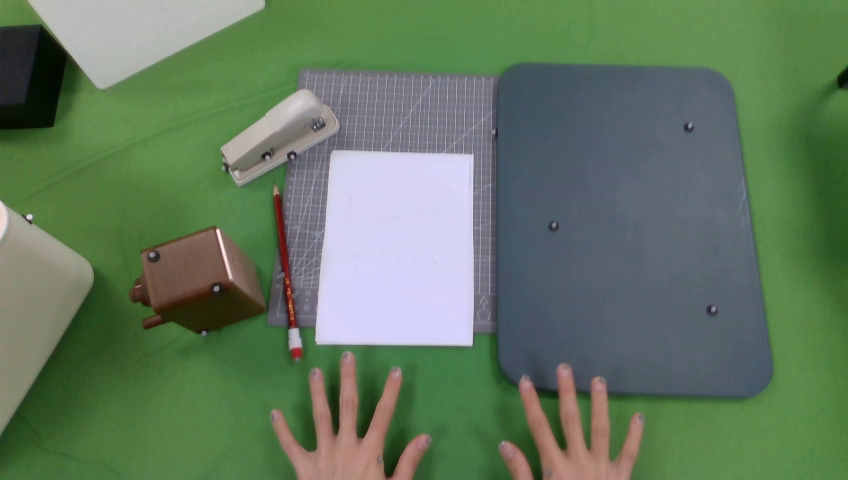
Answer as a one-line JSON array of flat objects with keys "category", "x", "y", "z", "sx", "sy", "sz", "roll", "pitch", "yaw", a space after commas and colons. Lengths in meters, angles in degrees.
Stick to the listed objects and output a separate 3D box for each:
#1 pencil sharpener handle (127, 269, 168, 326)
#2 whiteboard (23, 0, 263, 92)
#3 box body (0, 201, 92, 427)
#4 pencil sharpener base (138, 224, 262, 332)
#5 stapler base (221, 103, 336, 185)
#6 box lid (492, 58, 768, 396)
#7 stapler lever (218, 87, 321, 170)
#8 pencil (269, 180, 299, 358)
[{"category": "pencil sharpener handle", "x": -0.252, "y": 0.056, "z": 0.543, "sx": 0.030, "sy": 0.068, "sz": 0.035, "roll": -19, "pitch": 55, "yaw": -5}, {"category": "whiteboard", "x": -0.344, "y": -0.355, "z": 0.625, "sx": 0.217, "sy": 0.308, "sz": 0.142, "roll": -31, "pitch": 54, "yaw": -9}, {"category": "box body", "x": -0.531, "y": 0.043, "z": 0.535, "sx": 0.363, "sy": 0.161, "sz": 0.253, "roll": 22, "pitch": 73, "yaw": 8}, {"category": "pencil sharpener base", "x": -0.205, "y": 0.039, "z": 0.562, "sx": 0.077, "sy": 0.107, "sz": 0.061, "roll": -19, "pitch": 72, "yaw": -5}, {"category": "stapler base", "x": -0.159, "y": -0.110, "z": 0.654, "sx": 0.130, "sy": 0.024, "sz": 0.041, "roll": -32, "pitch": 70, "yaw": -6}, {"category": "box lid", "x": 0.204, "y": -0.030, "z": 0.631, "sx": 0.263, "sy": 0.015, "sz": 0.369, "roll": 2, "pitch": 72, "yaw": 0}, {"category": "stapler lever", "x": -0.162, "y": -0.117, "z": 0.630, "sx": 0.118, "sy": 0.040, "sz": 0.026, "roll": -32, "pitch": 69, "yaw": -6}, {"category": "pencil", "x": -0.145, "y": 0.025, "z": 0.616, "sx": 0.012, "sy": 0.012, "sz": 0.192, "roll": -11, "pitch": 71, "yaw": -3}]
